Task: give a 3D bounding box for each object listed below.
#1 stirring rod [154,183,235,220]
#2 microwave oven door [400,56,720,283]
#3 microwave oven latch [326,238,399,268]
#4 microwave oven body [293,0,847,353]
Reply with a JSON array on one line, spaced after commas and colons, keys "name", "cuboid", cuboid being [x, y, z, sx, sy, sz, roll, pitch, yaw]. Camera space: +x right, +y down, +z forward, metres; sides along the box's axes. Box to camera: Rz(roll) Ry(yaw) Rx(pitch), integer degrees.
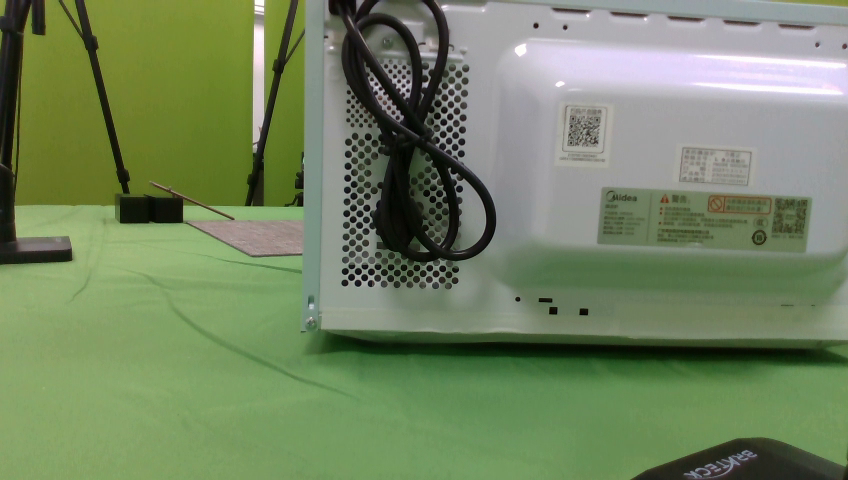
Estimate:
[{"name": "stirring rod", "cuboid": [-0.472, -0.079, 1.251, 0.177, 0.006, 0.014, 27, 3, -35]}, {"name": "microwave oven door", "cuboid": [0.155, -0.077, 0.697, 0.356, 0.243, 0.039, 2, 8, -5]}, {"name": "microwave oven latch", "cuboid": [-0.070, 0.015, 0.692, 0.079, 0.029, 0.030, 3, 7, 1]}, {"name": "microwave oven body", "cuboid": [0.122, -0.055, 0.550, 0.442, 0.260, 0.325, 3, 7, -5]}]
